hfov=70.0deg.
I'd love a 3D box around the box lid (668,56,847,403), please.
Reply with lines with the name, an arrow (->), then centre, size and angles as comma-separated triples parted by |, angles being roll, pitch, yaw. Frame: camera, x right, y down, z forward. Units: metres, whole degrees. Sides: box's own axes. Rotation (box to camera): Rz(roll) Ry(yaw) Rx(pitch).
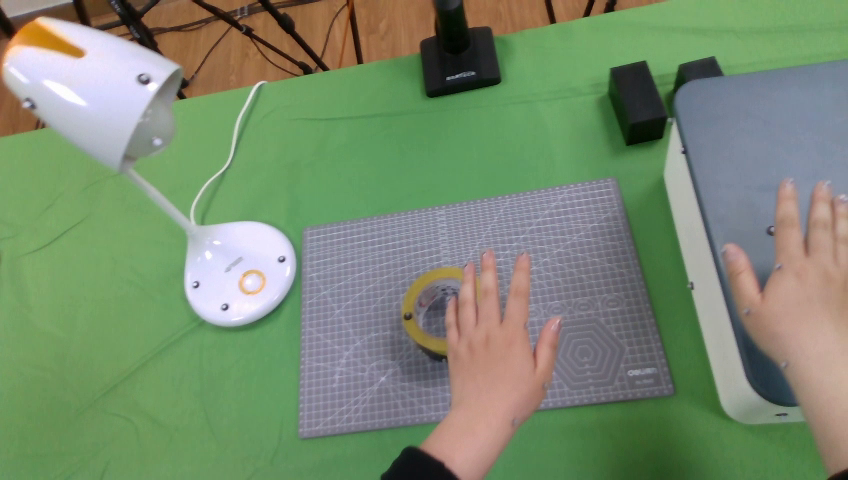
box lid -> 0.410, -0.034, 0.597 | 0.263, 0.015, 0.368 | -7, 63, 8

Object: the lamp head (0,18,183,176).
lamp head -> -0.290, -0.130, 0.525 | 0.123, 0.112, 0.112 | 27, 68, -13

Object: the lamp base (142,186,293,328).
lamp base -> -0.286, 0.008, 0.792 | 0.178, 0.182, 0.160 | 28, 72, 26

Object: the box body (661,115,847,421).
box body -> 0.423, 0.002, 0.660 | 0.254, 0.162, 0.361 | -7, 62, 8

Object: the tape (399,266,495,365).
tape -> 0.028, 0.093, 0.755 | 0.117, 0.053, 0.116 | -4, 62, 9
